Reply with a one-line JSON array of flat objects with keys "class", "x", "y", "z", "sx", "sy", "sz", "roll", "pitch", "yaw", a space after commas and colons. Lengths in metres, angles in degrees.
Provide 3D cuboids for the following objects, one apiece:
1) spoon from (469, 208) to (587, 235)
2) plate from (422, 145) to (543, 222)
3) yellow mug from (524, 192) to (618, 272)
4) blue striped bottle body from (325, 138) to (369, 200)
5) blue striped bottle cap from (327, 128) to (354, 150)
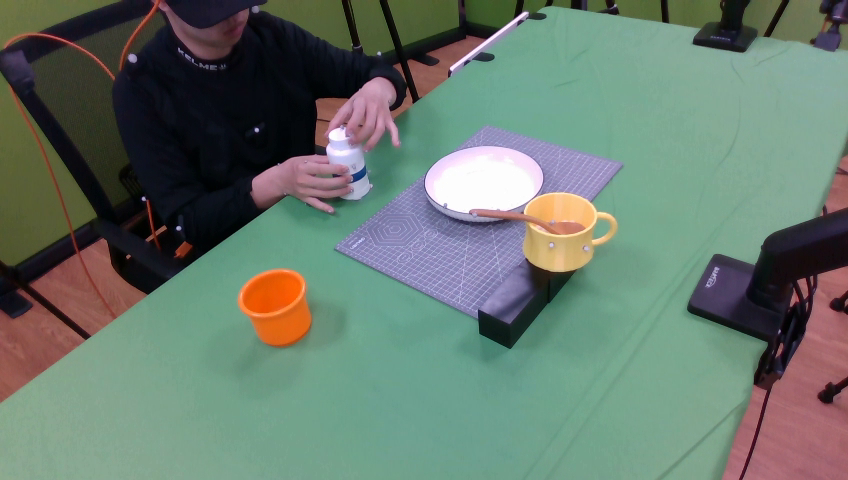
[{"class": "spoon", "x": 0.143, "y": -0.026, "z": 0.817, "sx": 0.195, "sy": 0.021, "sz": 0.041, "roll": 12, "pitch": 34, "yaw": -29}, {"class": "plate", "x": 0.101, "y": -0.094, "z": 1.048, "sx": 0.207, "sy": 0.039, "sz": 0.206, "roll": -4, "pitch": 41, "yaw": 4}, {"class": "yellow mug", "x": 0.206, "y": -0.014, "z": 0.845, "sx": 0.131, "sy": 0.064, "sz": 0.099, "roll": -4, "pitch": 40, "yaw": 2}, {"class": "blue striped bottle body", "x": -0.137, "y": -0.136, "z": 1.071, "sx": 0.063, "sy": 0.121, "sz": 0.063, "roll": -3, "pitch": 40, "yaw": 3}, {"class": "blue striped bottle cap", "x": -0.143, "y": -0.173, "z": 1.037, "sx": 0.044, "sy": 0.021, "sz": 0.044, "roll": -2, "pitch": 40, "yaw": 2}]
